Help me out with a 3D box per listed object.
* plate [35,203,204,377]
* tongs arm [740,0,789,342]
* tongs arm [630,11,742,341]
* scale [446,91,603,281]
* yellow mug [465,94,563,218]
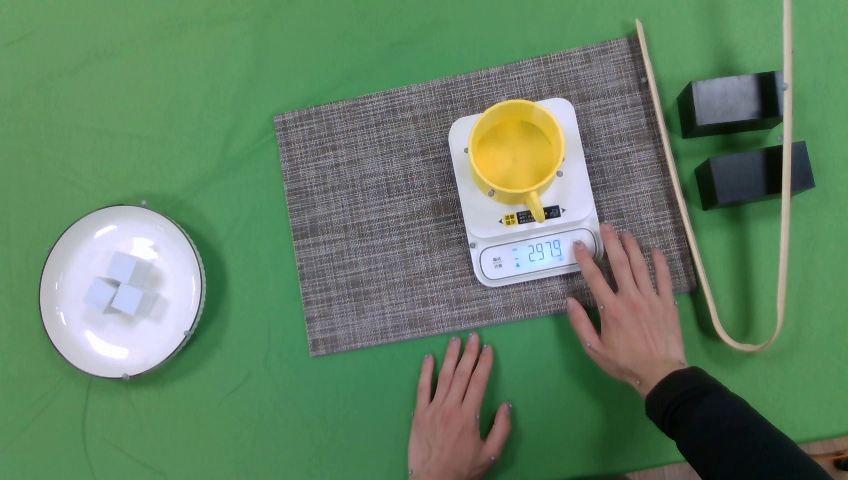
[{"bbox_3d":[-0.363,0.060,0.735,0.207,0.039,0.207,-1,84,6],"label":"plate"},{"bbox_3d":[0.353,-0.086,0.631,0.050,0.027,0.384,-1,91,33],"label":"tongs arm"},{"bbox_3d":[0.287,-0.077,0.678,0.028,0.028,0.386,-17,82,29],"label":"tongs arm"},{"bbox_3d":[0.113,-0.062,0.693,0.148,0.031,0.200,-12,84,6],"label":"scale"},{"bbox_3d":[0.100,-0.085,0.649,0.100,0.064,0.130,-22,84,3],"label":"yellow mug"}]
